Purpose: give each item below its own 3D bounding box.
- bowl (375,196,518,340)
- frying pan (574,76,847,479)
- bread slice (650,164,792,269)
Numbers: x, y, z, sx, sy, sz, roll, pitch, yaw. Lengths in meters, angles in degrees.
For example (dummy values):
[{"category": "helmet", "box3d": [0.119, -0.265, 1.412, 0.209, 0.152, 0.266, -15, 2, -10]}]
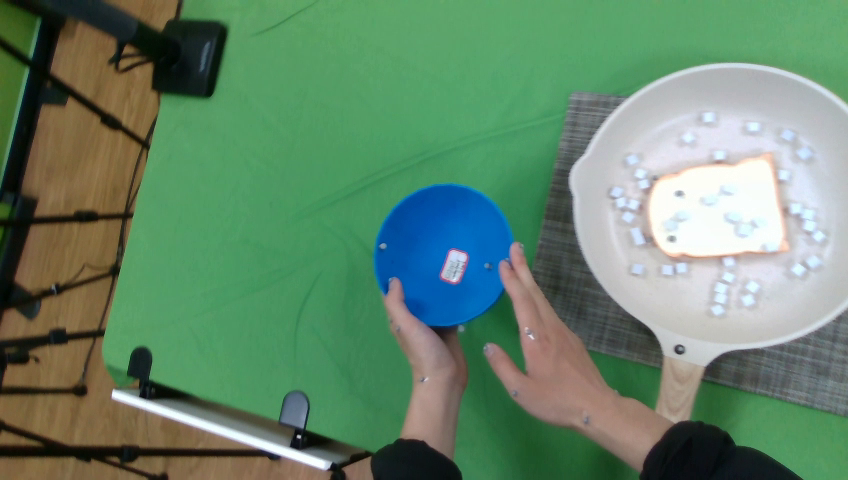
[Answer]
[{"category": "bowl", "box3d": [0.032, 0.035, 0.650, 0.151, 0.077, 0.150, -4, 76, 16]}, {"category": "frying pan", "box3d": [0.280, 0.074, 0.617, 0.305, 0.103, 0.486, 15, 78, 22]}, {"category": "bread slice", "box3d": [0.318, -0.017, 0.660, 0.134, 0.018, 0.106, -10, 78, 16]}]
